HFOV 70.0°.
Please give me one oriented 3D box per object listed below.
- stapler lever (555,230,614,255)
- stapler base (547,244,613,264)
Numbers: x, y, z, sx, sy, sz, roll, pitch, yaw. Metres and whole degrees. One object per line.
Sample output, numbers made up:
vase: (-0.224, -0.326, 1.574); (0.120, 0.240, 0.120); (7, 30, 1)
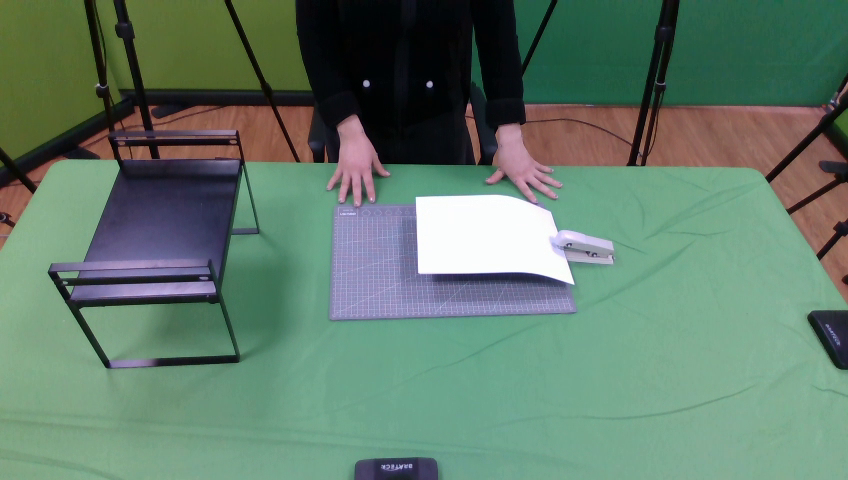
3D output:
stapler lever: (0.315, 0.004, 1.181); (0.118, 0.040, 0.026); (5, 46, -3)
stapler base: (0.311, 0.022, 1.198); (0.131, 0.024, 0.041); (5, 46, -3)
